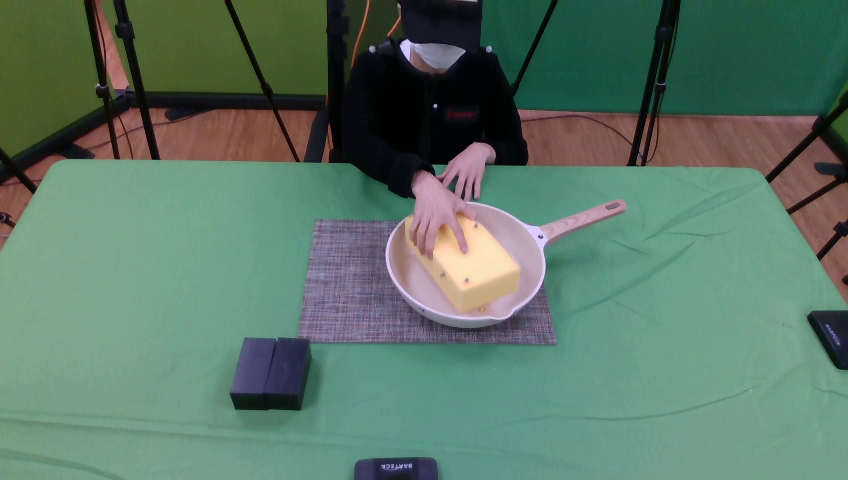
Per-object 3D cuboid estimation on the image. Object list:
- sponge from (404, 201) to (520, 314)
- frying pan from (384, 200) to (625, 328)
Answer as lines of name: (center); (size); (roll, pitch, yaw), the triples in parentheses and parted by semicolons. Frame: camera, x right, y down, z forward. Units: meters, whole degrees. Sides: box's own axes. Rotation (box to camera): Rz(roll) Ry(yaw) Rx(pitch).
sponge: (0.062, 0.025, 1.085); (0.118, 0.061, 0.205); (-21, 47, -21)
frying pan: (0.169, 0.014, 1.137); (0.488, 0.103, 0.304); (-19, 51, -11)
